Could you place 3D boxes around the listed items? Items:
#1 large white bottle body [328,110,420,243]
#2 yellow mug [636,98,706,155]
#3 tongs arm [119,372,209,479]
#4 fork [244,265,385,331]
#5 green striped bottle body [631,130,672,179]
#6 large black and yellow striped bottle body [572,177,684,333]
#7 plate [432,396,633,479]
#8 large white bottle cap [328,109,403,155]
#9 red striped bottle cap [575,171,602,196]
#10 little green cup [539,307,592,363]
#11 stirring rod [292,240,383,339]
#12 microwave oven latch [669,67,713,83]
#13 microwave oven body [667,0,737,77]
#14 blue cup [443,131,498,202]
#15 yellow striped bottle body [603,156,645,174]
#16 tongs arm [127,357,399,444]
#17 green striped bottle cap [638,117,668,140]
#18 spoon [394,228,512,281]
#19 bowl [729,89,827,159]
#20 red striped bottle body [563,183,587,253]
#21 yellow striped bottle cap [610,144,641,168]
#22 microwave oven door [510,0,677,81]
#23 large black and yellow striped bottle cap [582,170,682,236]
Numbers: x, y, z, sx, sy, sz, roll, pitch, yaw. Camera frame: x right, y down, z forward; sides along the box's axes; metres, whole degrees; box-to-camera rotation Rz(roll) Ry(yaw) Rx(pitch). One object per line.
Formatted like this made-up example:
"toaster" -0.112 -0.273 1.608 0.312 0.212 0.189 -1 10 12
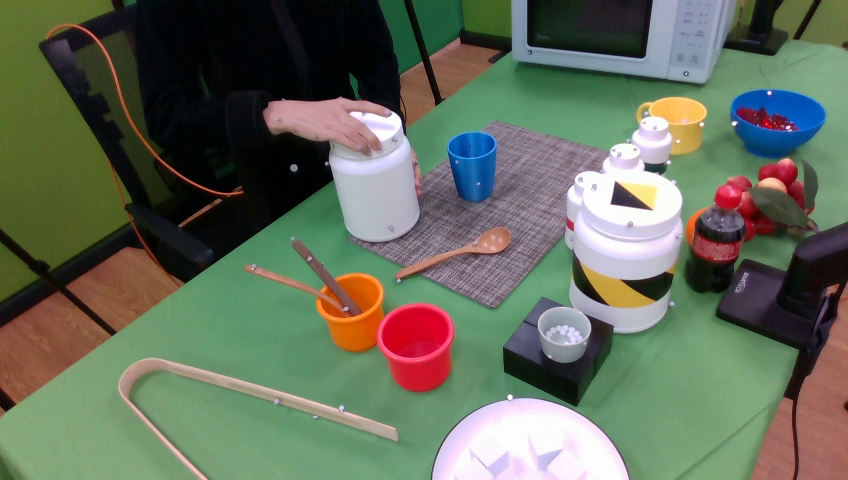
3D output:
"large white bottle body" -0.081 -0.102 0.977 0.130 0.185 0.130 -4 40 4
"yellow mug" 0.453 -0.217 1.128 0.100 0.064 0.129 -34 46 -27
"tongs arm" -0.258 0.257 0.700 0.384 0.028 0.028 24 55 34
"fork" -0.142 0.078 0.806 0.209 0.018 0.028 30 31 -23
"green striped bottle body" 0.375 -0.140 1.007 0.063 0.120 0.063 -5 40 5
"large black and yellow striped bottle body" 0.262 0.017 0.788 0.131 0.185 0.130 -5 40 4
"plate" 0.112 0.261 0.634 0.209 0.038 0.208 -5 40 4
"large white bottle cap" -0.089 -0.167 0.923 0.115 0.018 0.114 -3 39 3
"red striped bottle cap" 0.242 -0.081 0.876 0.044 0.018 0.044 -5 43 5
"little green cup" 0.168 0.115 0.721 0.061 0.039 0.061 -4 42 4
"stirring rod" -0.118 0.068 0.826 0.176 0.006 0.014 48 59 -4
"microwave oven latch" 0.556 -0.349 1.261 0.078 0.029 0.030 16 46 27
"microwave oven body" 0.462 -0.552 1.368 0.439 0.261 0.326 14 45 26
"blue cup" 0.087 -0.122 1.040 0.092 0.101 0.092 -5 42 5
"yellow striped bottle body" 0.313 -0.089 0.956 0.063 0.121 0.062 -4 40 4
"tongs arm" -0.213 0.205 0.755 0.382 0.026 0.051 12 46 23
"green striped bottle cap" 0.369 -0.180 0.974 0.044 0.020 0.044 -4 41 4
"spoon" 0.045 0.024 0.935 0.194 0.022 0.041 -18 66 -11
"bowl" 0.615 -0.197 1.069 0.151 0.077 0.150 -5 40 5
"red striped bottle body" 0.246 -0.041 0.910 0.063 0.120 0.062 -2 38 2
"yellow striped bottle cap" 0.307 -0.128 0.923 0.044 0.019 0.044 -6 40 5
"microwave oven door" 0.354 -0.478 1.290 0.353 0.245 0.039 15 45 25
"large black and yellow striped bottle cap" 0.252 -0.048 0.735 0.115 0.019 0.114 -3 40 3
